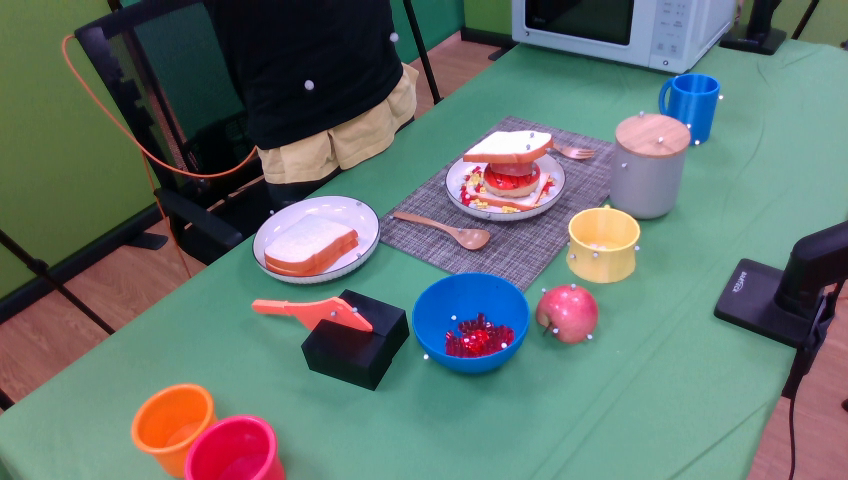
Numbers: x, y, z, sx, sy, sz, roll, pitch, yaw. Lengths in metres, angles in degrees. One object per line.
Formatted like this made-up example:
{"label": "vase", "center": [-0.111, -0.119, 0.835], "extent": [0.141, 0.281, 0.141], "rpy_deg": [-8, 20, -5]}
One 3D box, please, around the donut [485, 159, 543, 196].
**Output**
{"label": "donut", "center": [0.151, -0.112, 1.018], "extent": [0.099, 0.048, 0.098], "rpy_deg": [-4, 40, 4]}

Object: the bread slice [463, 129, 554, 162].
{"label": "bread slice", "center": [0.143, -0.154, 0.974], "extent": [0.130, 0.019, 0.105], "rpy_deg": [9, 35, 38]}

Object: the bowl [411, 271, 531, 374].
{"label": "bowl", "center": [0.062, 0.119, 0.780], "extent": [0.151, 0.077, 0.150], "rpy_deg": [-4, 40, 4]}

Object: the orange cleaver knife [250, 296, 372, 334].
{"label": "orange cleaver knife", "center": [-0.159, 0.103, 0.828], "extent": [0.210, 0.078, 0.012], "rpy_deg": [-3, 43, 39]}

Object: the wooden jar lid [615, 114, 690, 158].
{"label": "wooden jar lid", "center": [0.347, -0.155, 0.923], "extent": [0.108, 0.021, 0.108], "rpy_deg": [-3, 44, 4]}

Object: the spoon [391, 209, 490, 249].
{"label": "spoon", "center": [0.023, -0.025, 0.989], "extent": [0.192, 0.022, 0.041], "rpy_deg": [20, 71, 28]}

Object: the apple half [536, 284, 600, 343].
{"label": "apple half", "center": [0.196, 0.091, 0.815], "extent": [0.075, 0.053, 0.080], "rpy_deg": [-22, 42, -20]}

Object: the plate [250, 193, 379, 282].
{"label": "plate", "center": [-0.174, -0.001, 0.984], "extent": [0.209, 0.038, 0.208], "rpy_deg": [-4, 40, 4]}

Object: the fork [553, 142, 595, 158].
{"label": "fork", "center": [0.225, -0.186, 1.151], "extent": [0.206, 0.019, 0.028], "rpy_deg": [21, 59, 27]}

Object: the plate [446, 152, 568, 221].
{"label": "plate", "center": [0.143, -0.097, 1.045], "extent": [0.207, 0.039, 0.206], "rpy_deg": [-4, 40, 4]}

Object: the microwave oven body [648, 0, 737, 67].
{"label": "microwave oven body", "center": [0.475, -0.602, 1.411], "extent": [0.438, 0.261, 0.327], "rpy_deg": [23, 50, 32]}

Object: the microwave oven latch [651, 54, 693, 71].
{"label": "microwave oven latch", "center": [0.532, -0.386, 1.301], "extent": [0.078, 0.029, 0.030], "rpy_deg": [27, 52, 34]}

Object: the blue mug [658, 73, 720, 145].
{"label": "blue mug", "center": [0.483, -0.250, 1.127], "extent": [0.082, 0.106, 0.115], "rpy_deg": [-25, 44, -19]}

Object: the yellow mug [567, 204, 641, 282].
{"label": "yellow mug", "center": [0.268, -0.005, 0.905], "extent": [0.099, 0.064, 0.130], "rpy_deg": [6, 42, 15]}

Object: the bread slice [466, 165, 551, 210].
{"label": "bread slice", "center": [0.141, -0.093, 1.041], "extent": [0.133, 0.018, 0.107], "rpy_deg": [8, 42, 20]}

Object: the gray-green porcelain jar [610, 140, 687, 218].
{"label": "gray-green porcelain jar", "center": [0.354, -0.106, 0.964], "extent": [0.106, 0.127, 0.105], "rpy_deg": [-4, 41, 4]}

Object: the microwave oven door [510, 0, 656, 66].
{"label": "microwave oven door", "center": [0.350, -0.539, 1.349], "extent": [0.353, 0.245, 0.039], "rpy_deg": [24, 50, 31]}
